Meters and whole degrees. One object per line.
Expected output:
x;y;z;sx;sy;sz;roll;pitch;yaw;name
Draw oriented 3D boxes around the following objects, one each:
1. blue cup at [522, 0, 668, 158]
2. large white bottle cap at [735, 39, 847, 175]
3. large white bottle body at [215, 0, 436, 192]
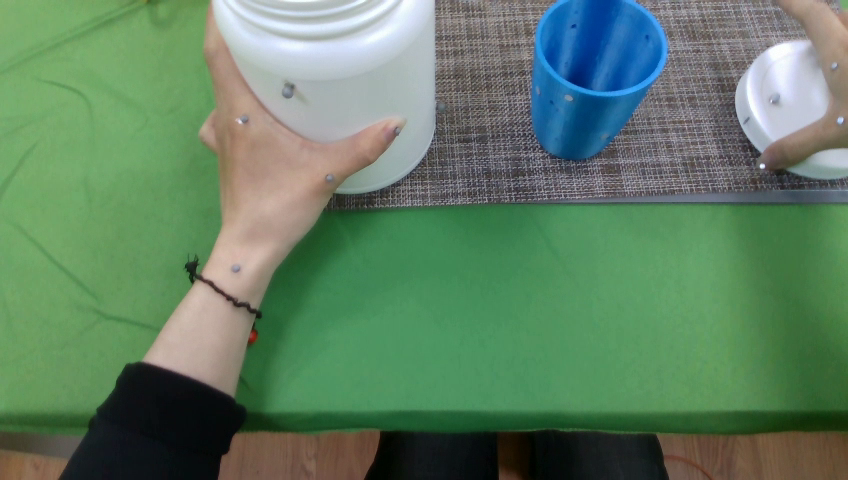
0.115;-0.110;0.434;0.092;0.101;0.092;0;67;2;blue cup
0.300;-0.104;0.465;0.115;0.018;0.114;1;68;-2;large white bottle cap
-0.057;-0.129;0.398;0.130;0.186;0.129;0;66;0;large white bottle body
